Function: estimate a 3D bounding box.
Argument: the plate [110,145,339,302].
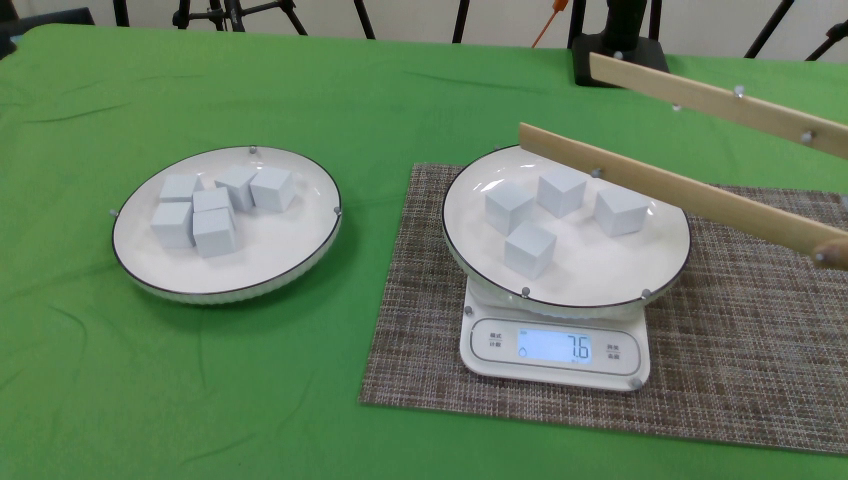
[{"bbox_3d":[-0.184,-0.016,0.581,0.209,0.038,0.207,0,45,0],"label":"plate"}]

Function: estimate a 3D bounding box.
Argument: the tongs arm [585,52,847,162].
[{"bbox_3d":[0.252,-0.045,0.367,0.381,0.027,0.050,30,64,33],"label":"tongs arm"}]

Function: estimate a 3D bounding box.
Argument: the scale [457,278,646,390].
[{"bbox_3d":[0.111,0.033,0.530,0.148,0.032,0.199,5,46,6],"label":"scale"}]

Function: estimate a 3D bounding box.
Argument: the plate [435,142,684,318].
[{"bbox_3d":[0.113,-0.010,0.527,0.208,0.039,0.205,1,45,0],"label":"plate"}]

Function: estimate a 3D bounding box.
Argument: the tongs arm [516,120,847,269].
[{"bbox_3d":[0.218,-0.011,0.349,0.384,0.028,0.028,25,58,31],"label":"tongs arm"}]
